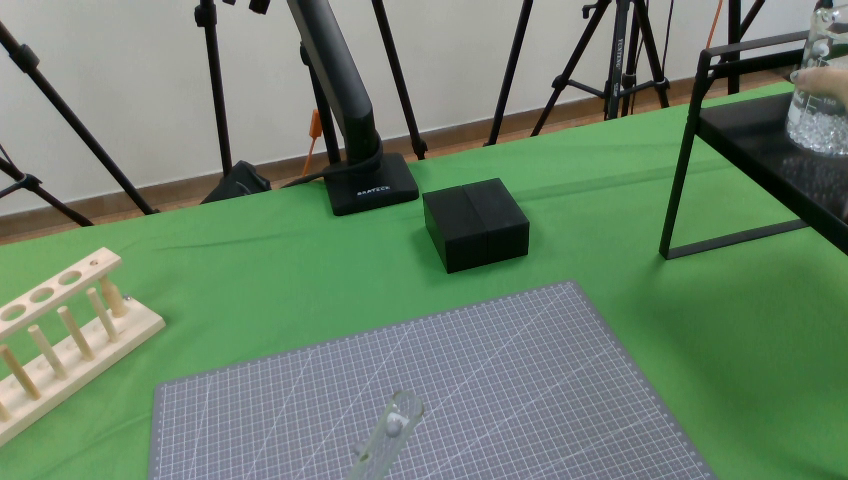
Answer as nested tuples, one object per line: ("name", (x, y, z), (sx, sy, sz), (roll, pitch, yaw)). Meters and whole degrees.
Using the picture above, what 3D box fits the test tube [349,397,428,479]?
("test tube", (-0.036, 0.130, 0.289), (0.017, 0.151, 0.017), (23, 26, -11))

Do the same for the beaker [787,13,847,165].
("beaker", (0.332, -0.118, 0.475), (0.074, 0.101, 0.083), (-11, 38, -3))

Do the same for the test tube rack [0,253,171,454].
("test tube rack", (-0.380, 0.120, 0.585), (0.066, 0.086, 0.242), (22, 45, 31))
